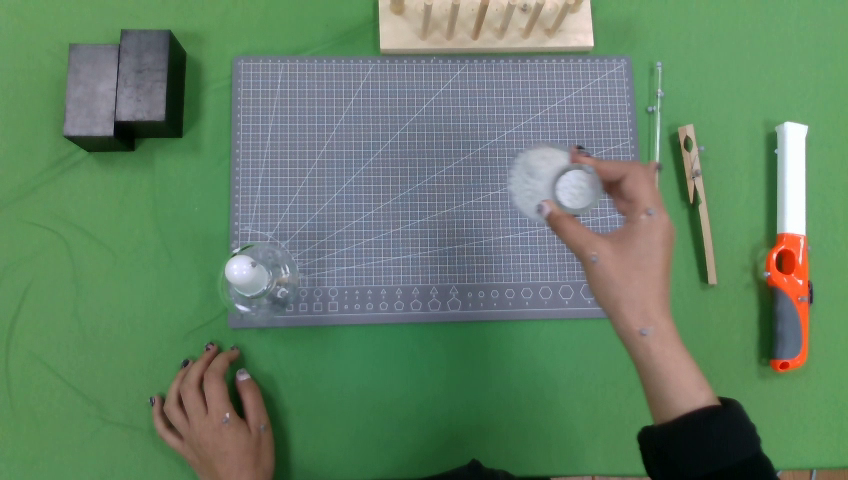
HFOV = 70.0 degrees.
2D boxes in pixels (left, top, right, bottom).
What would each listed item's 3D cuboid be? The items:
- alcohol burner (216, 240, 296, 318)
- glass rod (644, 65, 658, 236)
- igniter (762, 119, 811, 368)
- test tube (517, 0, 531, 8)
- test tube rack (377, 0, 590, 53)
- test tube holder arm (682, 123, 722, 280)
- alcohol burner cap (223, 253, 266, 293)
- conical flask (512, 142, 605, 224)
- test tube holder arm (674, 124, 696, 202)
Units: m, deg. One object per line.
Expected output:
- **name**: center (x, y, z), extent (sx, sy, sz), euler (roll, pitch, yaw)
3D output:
- **alcohol burner**: center (-0.165, 0.035, 0.583), extent (0.078, 0.119, 0.077), euler (0, 79, -1)
- **glass rod**: center (0.257, -0.103, 0.684), extent (0.008, 0.008, 0.199), euler (6, 83, -2)
- **igniter**: center (0.399, 0.002, 0.667), extent (0.057, 0.025, 0.275), euler (8, 81, -12)
- **test tube**: center (0.111, -0.283, 0.616), extent (0.017, 0.151, 0.017), euler (0, 78, 1)
- **test tube rack**: center (0.070, -0.256, 0.659), extent (0.242, 0.085, 0.066), euler (-2, 81, -4)
- **test tube holder arm**: center (0.307, -0.044, 0.671), extent (0.013, 0.015, 0.177), euler (-15, 80, 32)
- **alcohol burner cap**: center (-0.164, 0.027, 0.548), extent (0.034, 0.048, 0.033), euler (1, 72, -2)
- **conical flask**: center (0.117, -0.046, 0.506), extent (0.075, 0.121, 0.075), euler (0, 97, 1)
- **test tube holder arm**: center (0.295, -0.086, 0.680), extent (0.010, 0.015, 0.087), euler (-13, 81, 32)
